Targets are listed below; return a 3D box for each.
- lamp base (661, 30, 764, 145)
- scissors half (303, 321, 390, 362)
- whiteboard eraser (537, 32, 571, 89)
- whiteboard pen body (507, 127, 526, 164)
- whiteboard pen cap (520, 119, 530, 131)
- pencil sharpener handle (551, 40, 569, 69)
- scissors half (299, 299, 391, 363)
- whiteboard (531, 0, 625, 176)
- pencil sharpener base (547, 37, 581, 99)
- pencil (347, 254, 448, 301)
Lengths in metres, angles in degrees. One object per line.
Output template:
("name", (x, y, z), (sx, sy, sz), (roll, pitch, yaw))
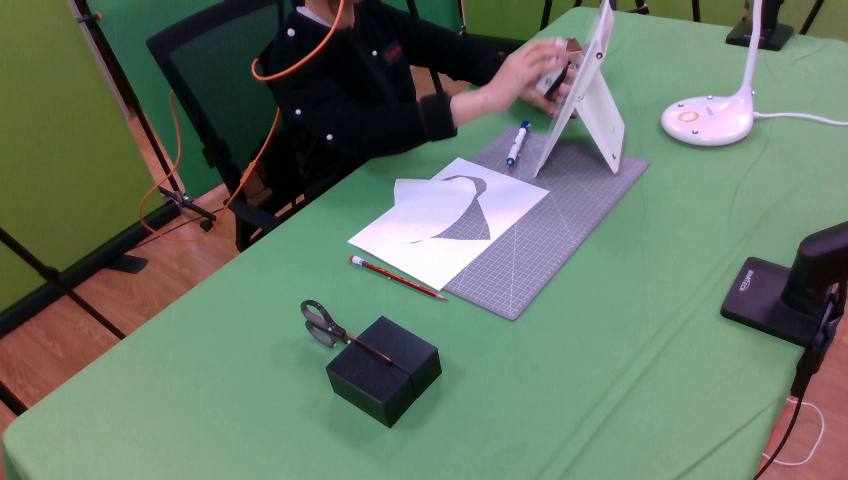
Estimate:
("lamp base", (0.535, -0.287, 1.096), (0.179, 0.181, 0.159), (-10, 40, -4))
("scissors half", (-0.105, 0.138, 0.803), (0.174, 0.040, 0.013), (8, 27, 43))
("whiteboard eraser", (0.228, -0.309, 1.046), (0.042, 0.055, 0.112), (25, 45, -7))
("whiteboard pen body", (0.181, -0.190, 1.163), (0.017, 0.017, 0.140), (7, 42, 19))
("whiteboard pen cap", (0.199, -0.227, 1.204), (0.018, 0.018, 0.033), (6, 43, 17))
("pencil sharpener handle", (0.291, -0.409, 1.320), (0.036, 0.068, 0.030), (2, 40, -6))
("scissors half", (-0.107, 0.120, 0.794), (0.174, 0.040, 0.013), (26, 44, 32))
("whiteboard", (0.320, -0.258, 1.050), (0.144, 0.306, 0.217), (22, 45, 5))
("pencil sharpener base", (0.300, -0.368, 1.290), (0.061, 0.107, 0.076), (-8, 40, 2))
("pencil", (-0.044, 0.058, 0.933), (0.192, 0.012, 0.012), (22, 49, 28))
